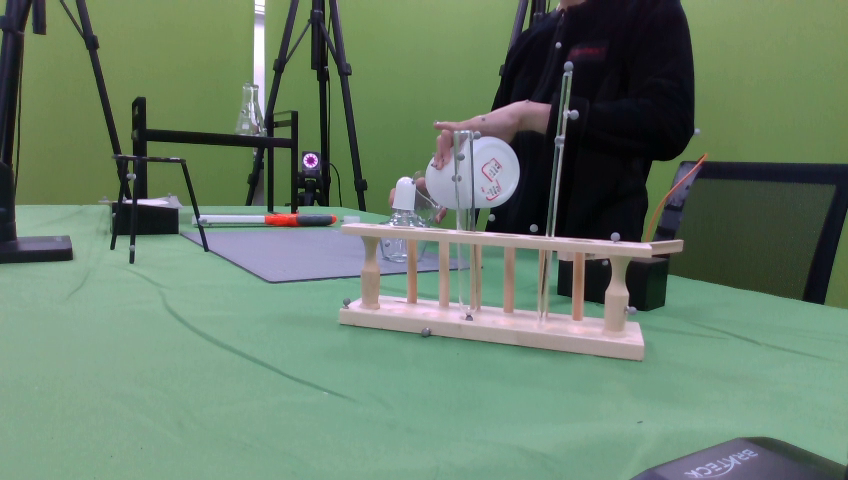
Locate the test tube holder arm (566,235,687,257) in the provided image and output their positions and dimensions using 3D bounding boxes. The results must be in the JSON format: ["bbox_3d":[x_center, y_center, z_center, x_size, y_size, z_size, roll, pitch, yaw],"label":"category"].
[{"bbox_3d":[0.215,0.006,0.630,0.179,0.015,0.013,-3,9,-31],"label":"test tube holder arm"}]

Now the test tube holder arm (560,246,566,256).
[{"bbox_3d":[0.173,0.007,0.612,0.088,0.015,0.010,-3,9,-29],"label":"test tube holder arm"}]

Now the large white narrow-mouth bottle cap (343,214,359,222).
[{"bbox_3d":[-0.155,-0.043,1.282,0.038,0.024,0.037,2,8,0],"label":"large white narrow-mouth bottle cap"}]

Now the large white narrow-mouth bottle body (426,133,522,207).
[{"bbox_3d":[0.059,-0.102,0.928,0.102,0.101,0.194,-2,1,-25],"label":"large white narrow-mouth bottle body"}]

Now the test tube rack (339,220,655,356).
[{"bbox_3d":[0.056,0.032,0.495,0.242,0.085,0.067,4,7,15],"label":"test tube rack"}]

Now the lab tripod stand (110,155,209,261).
[{"bbox_3d":[-0.361,-0.046,0.806,0.148,0.131,0.148,2,5,0],"label":"lab tripod stand"}]

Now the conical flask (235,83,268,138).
[{"bbox_3d":[-0.402,-0.299,1.406,0.075,0.122,0.075,2,7,0],"label":"conical flask"}]

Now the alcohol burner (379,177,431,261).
[{"bbox_3d":[-0.027,-0.031,0.838,0.078,0.119,0.078,0,6,0],"label":"alcohol burner"}]

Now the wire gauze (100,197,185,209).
[{"bbox_3d":[-0.469,-0.062,1.008,0.126,0.011,0.121,-2,8,-25],"label":"wire gauze"}]

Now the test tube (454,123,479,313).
[{"bbox_3d":[0.034,-0.016,0.477,0.017,0.150,0.017,-2,9,1],"label":"test tube"}]

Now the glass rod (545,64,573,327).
[{"bbox_3d":[0.101,-0.028,0.453,0.008,0.199,0.008,1,14,0],"label":"glass rod"}]

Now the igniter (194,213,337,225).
[{"bbox_3d":[-0.306,-0.042,1.196,0.278,0.025,0.057,-2,-2,-30],"label":"igniter"}]

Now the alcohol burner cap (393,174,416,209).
[{"bbox_3d":[-0.025,-0.067,0.834,0.034,0.048,0.034,8,7,-1],"label":"alcohol burner cap"}]

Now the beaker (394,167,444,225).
[{"bbox_3d":[-0.003,-0.064,1.051,0.074,0.100,0.083,3,50,-29],"label":"beaker"}]
